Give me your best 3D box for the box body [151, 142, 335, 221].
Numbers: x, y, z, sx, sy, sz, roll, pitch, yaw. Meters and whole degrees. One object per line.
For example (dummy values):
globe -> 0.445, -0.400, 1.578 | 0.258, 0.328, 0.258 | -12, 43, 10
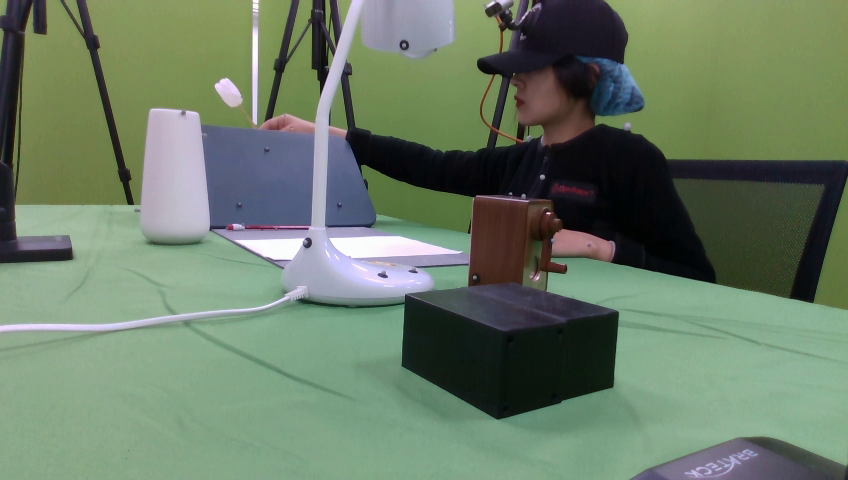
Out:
box body -> -0.413, -0.134, 1.379 | 0.366, 0.160, 0.253 | -2, 9, -31

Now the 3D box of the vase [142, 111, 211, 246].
vase -> -0.378, -0.093, 0.920 | 0.098, 0.200, 0.098 | 2, 9, 0

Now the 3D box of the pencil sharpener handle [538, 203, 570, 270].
pencil sharpener handle -> 0.137, -0.003, 0.619 | 0.030, 0.067, 0.036 | 8, 5, 38

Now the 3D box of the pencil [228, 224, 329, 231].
pencil -> -0.266, -0.024, 1.124 | 0.195, 0.012, 0.012 | -1, 8, -32

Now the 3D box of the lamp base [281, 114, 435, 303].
lamp base -> -0.071, -0.035, 0.614 | 0.160, 0.180, 0.180 | 6, 10, 27

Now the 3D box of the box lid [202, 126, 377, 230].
box lid -> -0.290, -0.128, 1.237 | 0.373, 0.262, 0.015 | -2, -35, -32

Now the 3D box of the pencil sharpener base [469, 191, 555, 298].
pencil sharpener base -> 0.097, 0.003, 0.652 | 0.076, 0.107, 0.061 | 8, 9, 38

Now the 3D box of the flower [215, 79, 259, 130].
flower -> -0.343, -0.207, 1.376 | 0.038, 0.363, 0.044 | -23, 33, 17

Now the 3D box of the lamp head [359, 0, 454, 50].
lamp head -> -0.024, -0.283, 0.674 | 0.112, 0.123, 0.112 | -3, 38, 3
